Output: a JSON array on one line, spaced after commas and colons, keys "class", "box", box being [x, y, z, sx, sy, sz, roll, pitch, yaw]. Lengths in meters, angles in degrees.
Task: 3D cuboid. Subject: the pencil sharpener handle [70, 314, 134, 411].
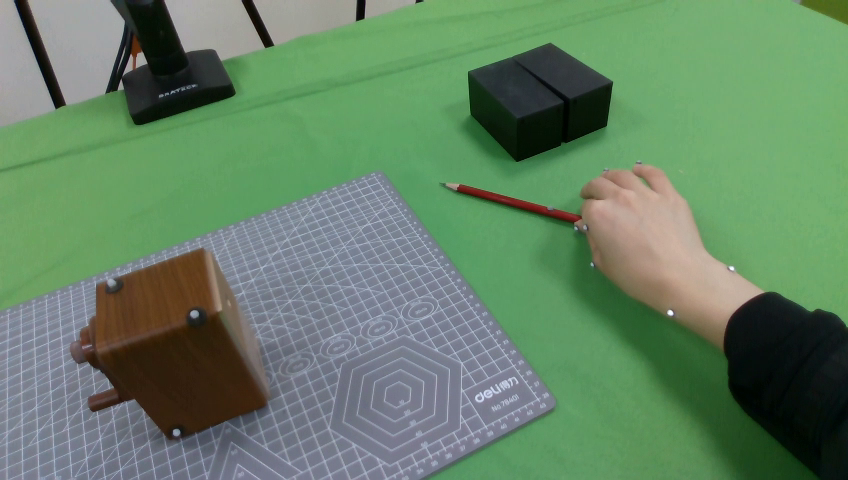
[{"class": "pencil sharpener handle", "box": [-0.203, 0.079, 0.371, 0.031, 0.068, 0.035, -20, 39, -11]}]

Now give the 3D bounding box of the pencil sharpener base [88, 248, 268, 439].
[{"class": "pencil sharpener base", "box": [-0.155, 0.070, 0.391, 0.077, 0.108, 0.060, -20, 46, -11]}]

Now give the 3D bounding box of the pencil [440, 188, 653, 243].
[{"class": "pencil", "box": [0.100, -0.025, 0.530, 0.193, 0.012, 0.012, 16, 49, 24]}]
